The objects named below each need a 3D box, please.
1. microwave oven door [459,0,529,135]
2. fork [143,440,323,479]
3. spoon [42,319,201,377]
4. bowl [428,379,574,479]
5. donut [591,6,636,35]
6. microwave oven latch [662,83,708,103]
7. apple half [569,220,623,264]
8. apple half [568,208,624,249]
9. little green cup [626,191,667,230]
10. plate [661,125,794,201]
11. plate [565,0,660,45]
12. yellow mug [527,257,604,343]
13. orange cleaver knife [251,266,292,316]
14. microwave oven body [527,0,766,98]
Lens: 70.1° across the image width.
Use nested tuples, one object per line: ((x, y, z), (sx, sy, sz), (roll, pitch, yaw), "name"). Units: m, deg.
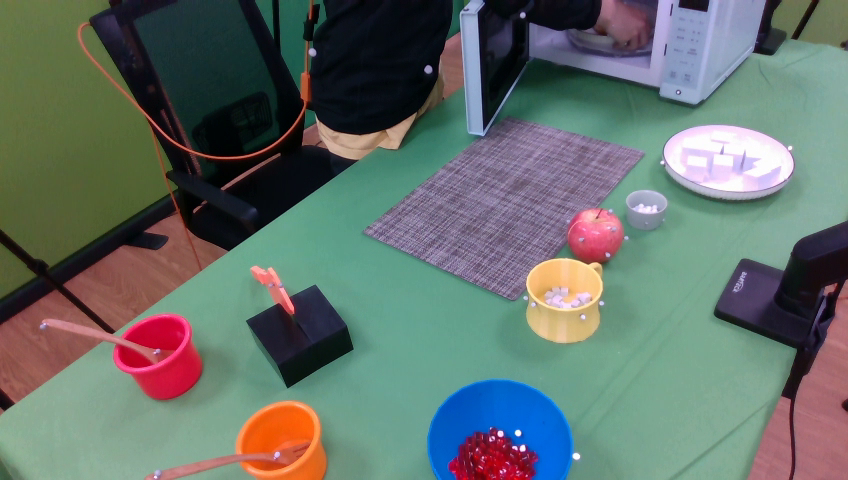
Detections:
((0.153, -0.410, 1.237), (0.039, 0.245, 0.356), (11, 44, 20), "microwave oven door")
((-0.190, 0.231, 0.631), (0.028, 0.018, 0.209), (38, 14, 37), "fork")
((-0.385, 0.135, 0.779), (0.195, 0.021, 0.041), (29, 37, -27), "spoon")
((0.082, 0.233, 0.644), (0.151, 0.077, 0.150), (-4, 39, 4), "bowl")
((0.426, -0.496, 1.366), (0.099, 0.048, 0.098), (-6, 39, 5), "donut")
((0.518, -0.296, 1.204), (0.078, 0.029, 0.030), (28, 52, 35), "microwave oven latch")
((0.251, 0.010, 0.884), (0.081, 0.081, 0.032), (3, 37, 12), "apple half")
((0.259, -0.014, 0.914), (0.080, 0.075, 0.053), (0, 36, 15), "apple half")
((0.352, -0.046, 0.963), (0.061, 0.039, 0.061), (-4, 40, 4), "little green cup")
((0.513, -0.128, 1.035), (0.207, 0.039, 0.206), (-4, 40, 4), "plate")
((0.426, -0.491, 1.376), (0.209, 0.038, 0.208), (-5, 39, 5), "plate")
((0.201, 0.072, 0.825), (0.131, 0.064, 0.099), (-32, 46, -27), "yellow mug")
((-0.221, 0.071, 0.873), (0.012, 0.077, 0.210), (-25, 11, -21), "orange cleaver knife")
((0.472, -0.513, 1.317), (0.438, 0.261, 0.327), (25, 51, 34), "microwave oven body")
